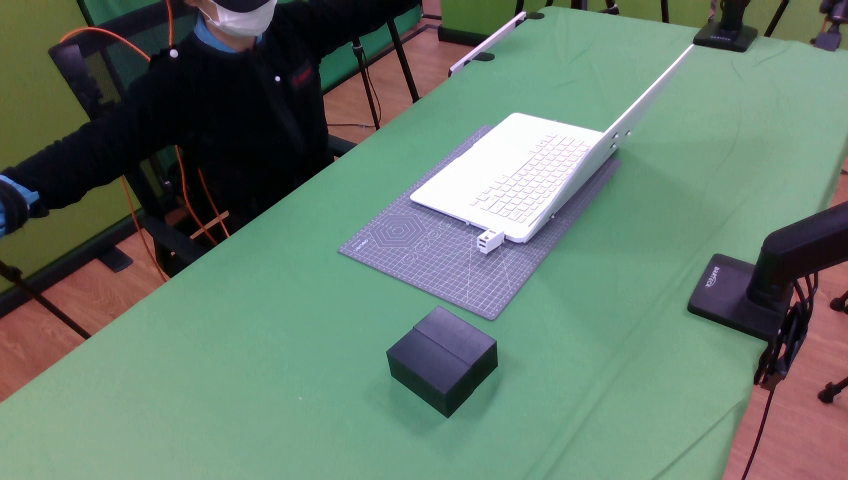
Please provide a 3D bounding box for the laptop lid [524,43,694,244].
[{"bbox_3d":[0.290,-0.151,0.941,0.013,0.241,0.358,40,54,12],"label":"laptop lid"}]

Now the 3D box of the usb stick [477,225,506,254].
[{"bbox_3d":[0.107,-0.004,0.933,0.021,0.027,0.059,25,37,35],"label":"usb stick"}]

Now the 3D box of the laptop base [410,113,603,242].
[{"bbox_3d":[0.171,-0.127,1.096,0.233,0.023,0.355,21,47,34],"label":"laptop base"}]
